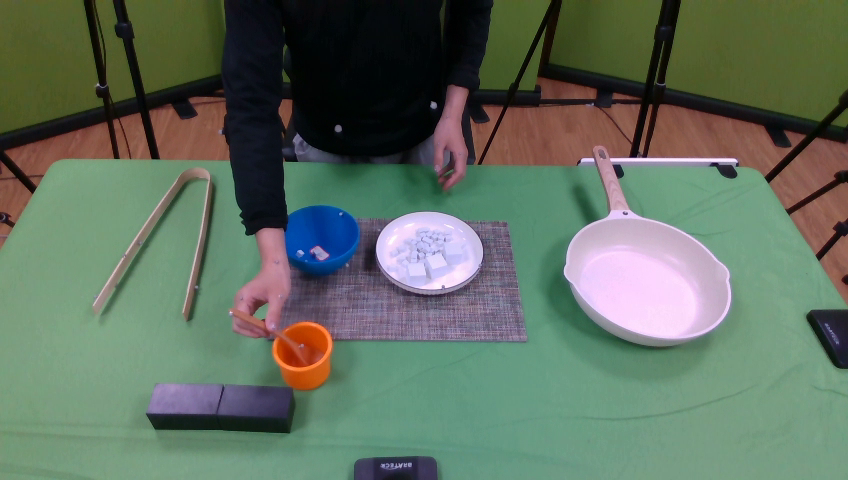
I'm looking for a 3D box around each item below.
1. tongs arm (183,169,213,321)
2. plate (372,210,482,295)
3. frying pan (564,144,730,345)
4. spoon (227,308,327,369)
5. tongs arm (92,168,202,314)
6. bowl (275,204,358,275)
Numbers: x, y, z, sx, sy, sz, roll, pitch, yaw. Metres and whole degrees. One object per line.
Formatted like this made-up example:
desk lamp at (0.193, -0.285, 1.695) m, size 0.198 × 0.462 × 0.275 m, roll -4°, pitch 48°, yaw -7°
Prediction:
tongs arm at (-0.436, -0.005, 1.166) m, size 0.028 × 0.028 × 0.385 m, roll -5°, pitch 47°, yaw -6°
plate at (0.005, 0.028, 1.155) m, size 0.208 × 0.039 × 0.206 m, roll 2°, pitch 46°, yaw -2°
frying pan at (0.396, -0.008, 1.179) m, size 0.307 × 0.103 × 0.484 m, roll 0°, pitch 55°, yaw -5°
spoon at (-0.224, 0.151, 0.940) m, size 0.021 × 0.195 × 0.041 m, roll -32°, pitch 38°, yaw 18°
tongs arm at (-0.518, -0.012, 1.160) m, size 0.051 × 0.026 × 0.382 m, roll 7°, pitch 45°, yaw 1°
bowl at (-0.196, 0.012, 1.125) m, size 0.151 × 0.077 × 0.150 m, roll 2°, pitch 47°, yaw -2°
